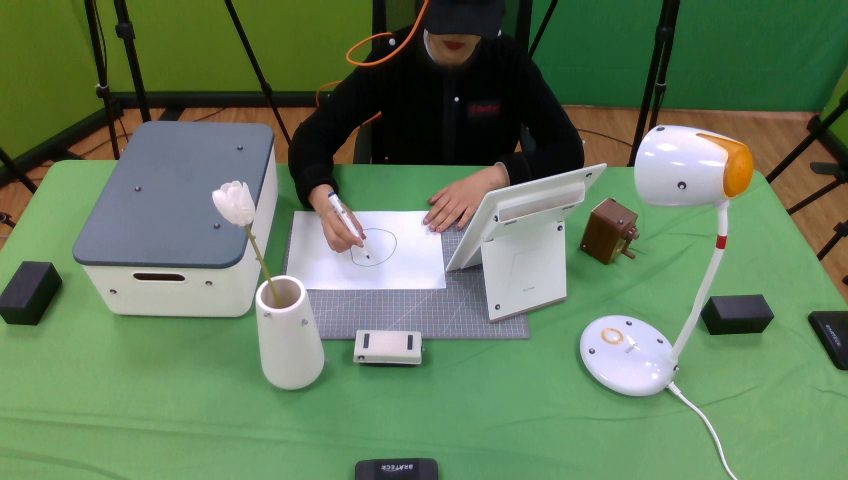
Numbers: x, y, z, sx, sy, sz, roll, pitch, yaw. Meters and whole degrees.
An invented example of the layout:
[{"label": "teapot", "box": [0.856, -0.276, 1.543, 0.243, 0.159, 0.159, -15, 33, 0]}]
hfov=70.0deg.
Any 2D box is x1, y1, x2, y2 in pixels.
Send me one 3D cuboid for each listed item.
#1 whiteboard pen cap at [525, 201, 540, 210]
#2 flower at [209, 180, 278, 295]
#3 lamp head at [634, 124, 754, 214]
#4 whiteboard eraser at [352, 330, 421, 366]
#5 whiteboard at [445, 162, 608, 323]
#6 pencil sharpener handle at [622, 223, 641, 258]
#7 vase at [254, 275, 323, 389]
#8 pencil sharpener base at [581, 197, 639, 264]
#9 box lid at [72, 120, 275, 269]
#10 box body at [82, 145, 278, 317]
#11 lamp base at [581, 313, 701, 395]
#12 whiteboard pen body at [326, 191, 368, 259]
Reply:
[{"label": "whiteboard pen cap", "box": [0.230, -0.074, 1.289, 0.033, 0.018, 0.018, 5, 46, 4]}, {"label": "flower", "box": [-0.216, 0.075, 0.871, 0.044, 0.363, 0.038, -29, 36, -20]}, {"label": "lamp head", "box": [0.351, -0.089, 0.776, 0.112, 0.113, 0.122, -30, 30, -28]}, {"label": "whiteboard eraser", "box": [-0.061, 0.180, 1.005, 0.113, 0.042, 0.055, 2, 47, -2]}, {"label": "whiteboard", "box": [0.186, 0.025, 1.029, 0.217, 0.306, 0.143, -14, 68, -17]}, {"label": "pencil sharpener handle", "box": [0.397, 0.002, 1.146, 0.030, 0.068, 0.036, 37, 46, 27]}, {"label": "vase", "box": [-0.209, 0.143, 0.921, 0.098, 0.201, 0.097, 1, 46, -1]}, {"label": "pencil sharpener base", "box": [0.362, -0.017, 1.179, 0.076, 0.107, 0.061, 37, 54, 27]}, {"label": "box lid", "box": [-0.417, -0.094, 1.056, 0.263, 0.015, 0.369, 1, 47, -3]}, {"label": "box body", "box": [-0.421, -0.041, 1.108, 0.254, 0.161, 0.361, 2, 46, -3]}, {"label": "lamp base", "box": [0.361, 0.144, 0.973, 0.178, 0.181, 0.160, 34, 53, 23]}, {"label": "whiteboard pen body", "box": [-0.137, -0.026, 1.106, 0.017, 0.017, 0.141, -35, 100, -31]}]
